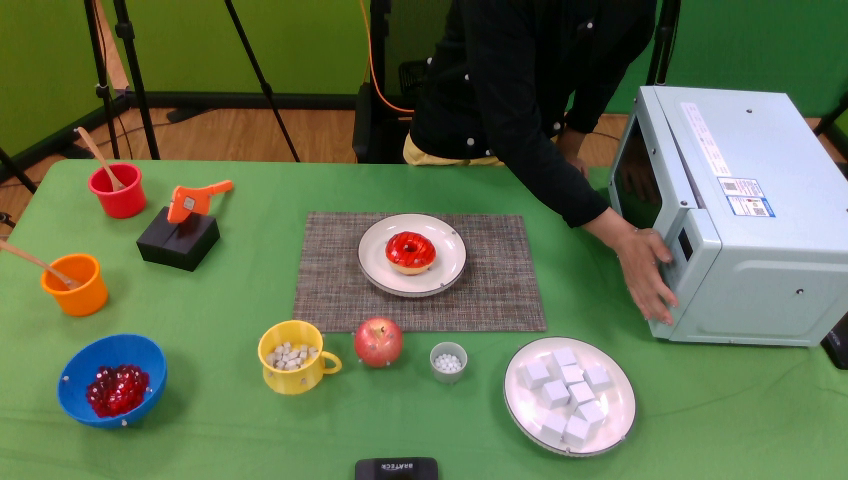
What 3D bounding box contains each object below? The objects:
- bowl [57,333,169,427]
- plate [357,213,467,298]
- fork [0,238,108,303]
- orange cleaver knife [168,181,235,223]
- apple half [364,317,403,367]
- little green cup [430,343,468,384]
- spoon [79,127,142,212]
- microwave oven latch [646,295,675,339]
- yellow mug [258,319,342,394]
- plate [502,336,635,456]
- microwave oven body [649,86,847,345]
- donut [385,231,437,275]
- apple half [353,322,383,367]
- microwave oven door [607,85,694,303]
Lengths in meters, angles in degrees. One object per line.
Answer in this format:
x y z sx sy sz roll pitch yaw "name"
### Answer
-0.455 0.223 0.912 0.151 0.077 0.150 3 45 -2 "bowl"
-0.023 0.032 1.150 0.209 0.038 0.208 2 46 -2 "plate"
-0.632 0.048 1.017 0.208 0.018 0.028 40 43 -27 "fork"
-0.436 -0.077 1.196 0.012 0.077 0.211 16 15 10 "orange cleaver knife"
-0.063 0.165 1.000 0.053 0.075 0.080 -16 45 -24 "apple half"
0.039 0.204 0.993 0.061 0.039 0.061 3 46 -3 "little green cup"
-0.624 -0.140 1.203 0.041 0.021 0.194 -33 100 -26 "spoon"
0.412 0.134 1.061 0.030 0.029 0.078 4 45 1 "microwave oven latch"
-0.195 0.189 0.971 0.131 0.064 0.099 9 46 4 "yellow mug"
0.225 0.248 0.963 0.208 0.039 0.206 2 46 -2 "plate"
0.568 -0.053 1.118 0.326 0.261 0.439 2 45 -1 "microwave oven body"
-0.024 0.024 1.141 0.099 0.048 0.098 3 44 -3 "donut"
-0.097 0.177 0.984 0.033 0.081 0.081 -17 49 -25 "apple half"
0.416 -0.095 1.140 0.039 0.245 0.353 4 46 1 "microwave oven door"
